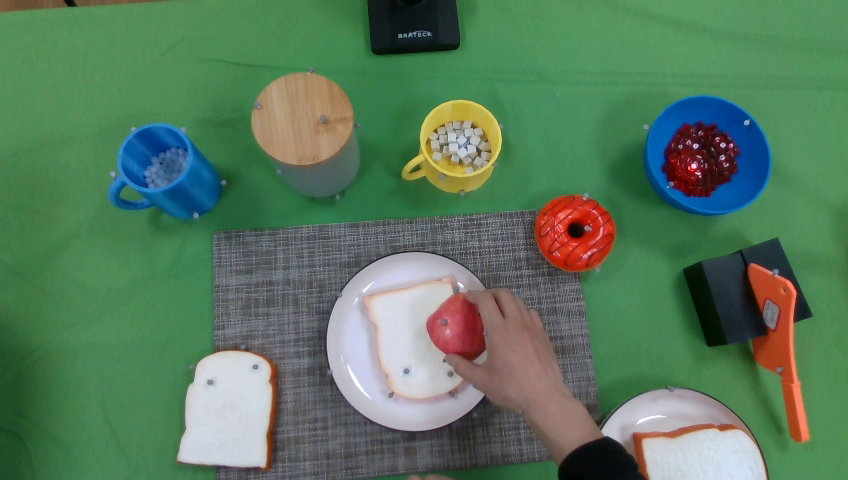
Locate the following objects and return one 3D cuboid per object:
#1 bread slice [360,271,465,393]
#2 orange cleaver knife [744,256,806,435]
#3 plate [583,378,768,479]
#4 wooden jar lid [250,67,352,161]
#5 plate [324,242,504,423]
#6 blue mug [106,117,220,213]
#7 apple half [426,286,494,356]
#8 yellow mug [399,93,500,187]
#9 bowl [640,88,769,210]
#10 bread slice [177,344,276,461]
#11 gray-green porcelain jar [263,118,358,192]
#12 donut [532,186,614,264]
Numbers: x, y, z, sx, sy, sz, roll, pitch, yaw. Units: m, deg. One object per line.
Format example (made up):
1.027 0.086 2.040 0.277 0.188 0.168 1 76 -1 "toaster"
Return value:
-0.006 0.111 0.713 0.107 0.018 0.133 -15 79 -4 "bread slice"
0.407 0.122 0.706 0.012 0.077 0.212 -15 100 -12 "orange cleaver knife"
0.282 0.264 0.694 0.209 0.038 0.208 0 78 -2 "plate"
-0.132 -0.134 0.656 0.108 0.021 0.108 0 76 -1 "wooden jar lid"
-0.012 0.107 0.713 0.208 0.039 0.206 0 78 -2 "plate"
-0.311 -0.076 0.710 0.116 0.106 0.082 -30 80 -8 "blue mug"
0.046 0.087 0.673 0.081 0.033 0.080 5 67 -11 "apple half"
0.027 -0.116 0.752 0.131 0.064 0.099 -28 80 -7 "yellow mug"
0.334 -0.102 0.754 0.151 0.077 0.150 0 78 -1 "bowl"
-0.225 0.186 0.699 0.105 0.019 0.131 3 79 -2 "bread slice"
-0.133 -0.120 0.716 0.106 0.127 0.105 0 77 -2 "gray-green porcelain jar"
0.182 -0.018 0.744 0.099 0.048 0.098 0 79 -2 "donut"
